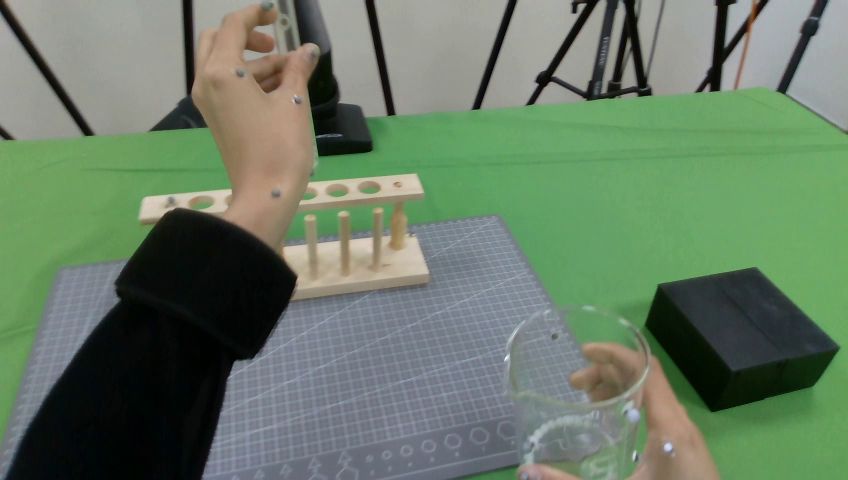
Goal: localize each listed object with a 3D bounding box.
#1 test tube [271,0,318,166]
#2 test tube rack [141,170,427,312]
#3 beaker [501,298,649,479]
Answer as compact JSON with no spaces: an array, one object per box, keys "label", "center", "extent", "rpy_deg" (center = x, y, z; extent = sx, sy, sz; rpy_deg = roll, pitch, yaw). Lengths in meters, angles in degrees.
[{"label":"test tube","center":[-0.088,-0.113,0.416],"extent":[0.017,0.151,0.017],"rpy_deg":[1,45,0]},{"label":"test tube rack","center":[-0.120,-0.001,0.556],"extent":[0.243,0.086,0.066],"rpy_deg":[-6,40,-11]},{"label":"beaker","center":[0.084,0.097,0.349],"extent":[0.084,0.101,0.073],"rpy_deg":[-22,38,-17]}]
